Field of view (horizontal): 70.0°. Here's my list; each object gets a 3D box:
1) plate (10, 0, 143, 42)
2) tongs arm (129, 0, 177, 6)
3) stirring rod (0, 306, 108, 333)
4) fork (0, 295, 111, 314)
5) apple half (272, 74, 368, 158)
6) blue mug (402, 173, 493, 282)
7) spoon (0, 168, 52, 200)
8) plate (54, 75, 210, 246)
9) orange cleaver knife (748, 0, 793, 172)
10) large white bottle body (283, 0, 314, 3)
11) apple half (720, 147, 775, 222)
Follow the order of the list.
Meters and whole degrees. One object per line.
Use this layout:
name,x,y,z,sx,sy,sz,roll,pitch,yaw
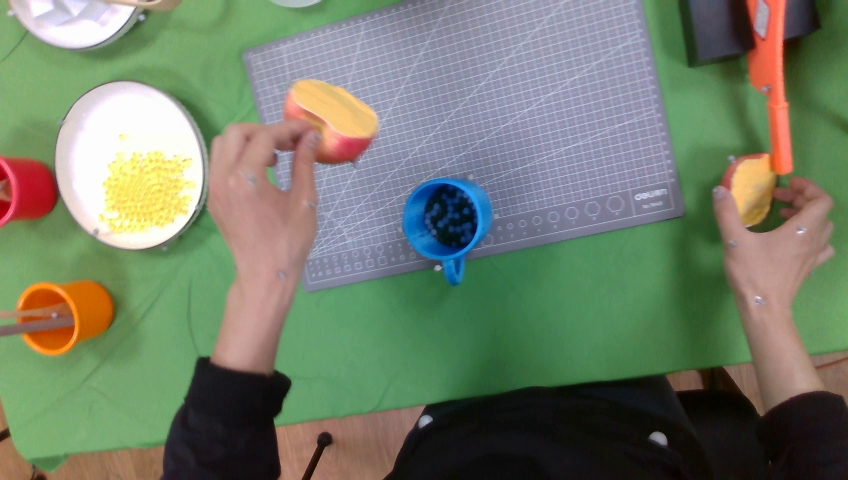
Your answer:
plate,-0.414,-0.344,0.733,0.207,0.039,0.208,1,98,11
tongs arm,-0.455,-0.325,0.710,0.383,0.026,0.051,18,97,11
stirring rod,-0.491,0.103,0.751,0.177,0.006,0.014,-8,85,-28
fork,-0.504,0.086,0.748,0.208,0.018,0.028,0,98,-32
apple half,-0.094,-0.103,0.535,0.081,0.074,0.053,31,125,0
blue mug,0.029,-0.013,0.650,0.082,0.106,0.116,-3,96,12
spoon,-0.572,-0.063,0.746,0.194,0.021,0.041,-9,95,-31
plate,-0.357,-0.097,0.753,0.208,0.038,0.209,1,98,11
orange cleaver knife,0.330,-0.168,0.579,0.012,0.076,0.213,-16,117,8
large white bottle body,-0.158,-0.329,0.609,0.130,0.184,0.131,1,96,12
apple half,0.324,-0.057,0.619,0.032,0.082,0.081,23,105,53
